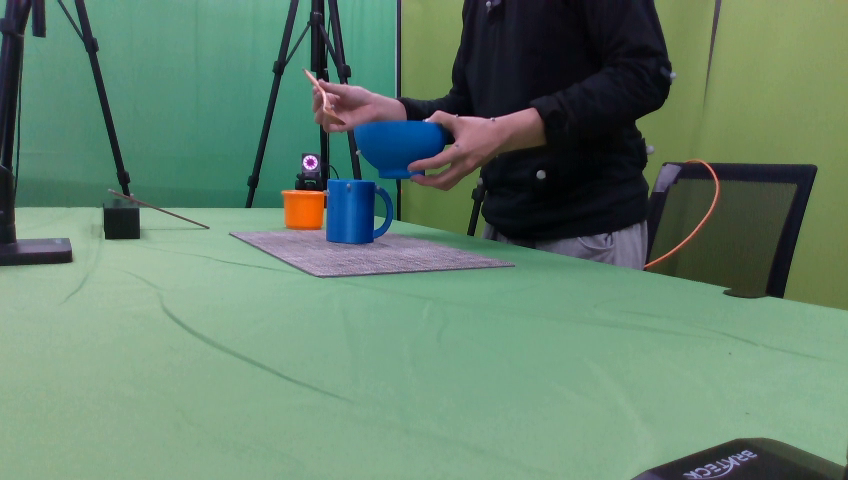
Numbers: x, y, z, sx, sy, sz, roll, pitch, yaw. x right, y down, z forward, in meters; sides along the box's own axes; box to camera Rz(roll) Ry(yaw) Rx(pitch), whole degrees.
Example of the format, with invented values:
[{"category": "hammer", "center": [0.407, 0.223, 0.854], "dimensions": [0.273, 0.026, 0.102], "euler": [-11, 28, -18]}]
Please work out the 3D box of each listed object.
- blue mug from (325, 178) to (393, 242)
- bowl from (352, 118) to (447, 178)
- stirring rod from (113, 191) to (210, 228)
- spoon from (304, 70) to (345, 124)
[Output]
[{"category": "blue mug", "center": [-0.111, -0.052, 1.034], "dimensions": [0.116, 0.106, 0.082], "euler": [3, 7, 7]}, {"category": "bowl", "center": [-0.037, -0.140, 0.950], "dimensions": [0.151, 0.077, 0.151], "euler": [-1, 1, 0]}, {"category": "stirring rod", "center": [-0.484, -0.055, 1.121], "dimensions": [0.177, 0.006, 0.014], "euler": [22, -6, -22]}, {"category": "spoon", "center": [-0.184, -0.262, 1.091], "dimensions": [0.042, 0.021, 0.193], "euler": [26, 26, -45]}]
